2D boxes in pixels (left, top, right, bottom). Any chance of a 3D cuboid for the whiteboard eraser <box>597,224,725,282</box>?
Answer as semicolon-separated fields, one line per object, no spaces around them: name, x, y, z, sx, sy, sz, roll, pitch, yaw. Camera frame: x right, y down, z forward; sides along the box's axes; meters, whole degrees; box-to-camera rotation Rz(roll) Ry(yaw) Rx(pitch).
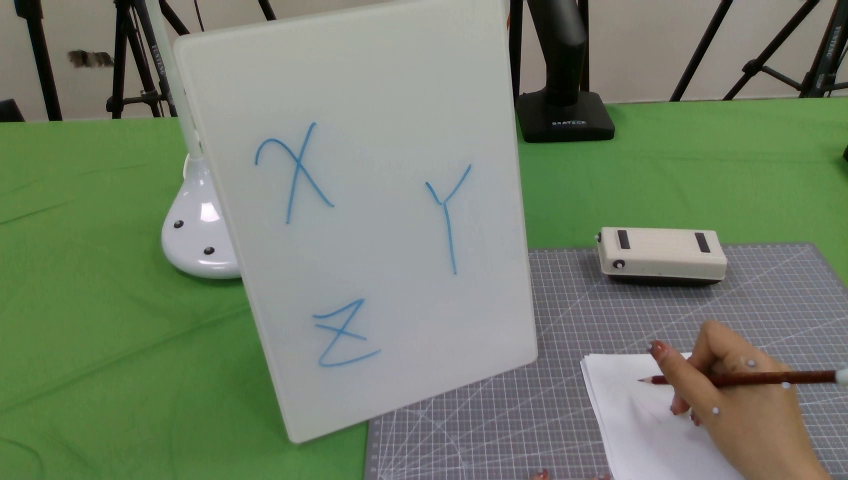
whiteboard eraser;0.229;0.013;0.594;0.112;0.042;0.055;3;42;6

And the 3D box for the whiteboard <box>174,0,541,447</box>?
whiteboard;-0.044;-0.028;0.498;0.217;0.307;0.142;-15;23;-14

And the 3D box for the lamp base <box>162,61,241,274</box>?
lamp base;-0.215;-0.083;0.622;0.177;0.182;0.160;27;48;33

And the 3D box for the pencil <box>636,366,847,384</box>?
pencil;0.211;0.091;0.403;0.012;0.194;0.012;6;75;-23
